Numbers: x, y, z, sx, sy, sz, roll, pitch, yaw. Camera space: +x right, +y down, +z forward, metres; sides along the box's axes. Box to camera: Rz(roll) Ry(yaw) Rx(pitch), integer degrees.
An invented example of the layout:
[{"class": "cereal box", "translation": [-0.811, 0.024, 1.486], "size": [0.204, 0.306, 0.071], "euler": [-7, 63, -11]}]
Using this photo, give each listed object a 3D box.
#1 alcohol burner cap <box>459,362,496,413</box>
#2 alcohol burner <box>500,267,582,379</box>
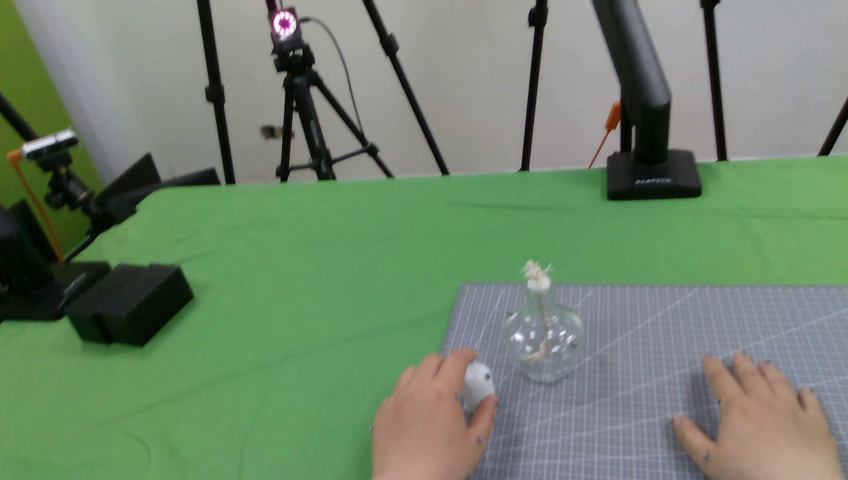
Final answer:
[{"class": "alcohol burner cap", "translation": [0.048, 0.134, 0.563], "size": [0.034, 0.048, 0.033], "euler": [-7, 34, 5]}, {"class": "alcohol burner", "translation": [0.109, 0.073, 0.570], "size": [0.078, 0.120, 0.077], "euler": [-7, 34, 5]}]
